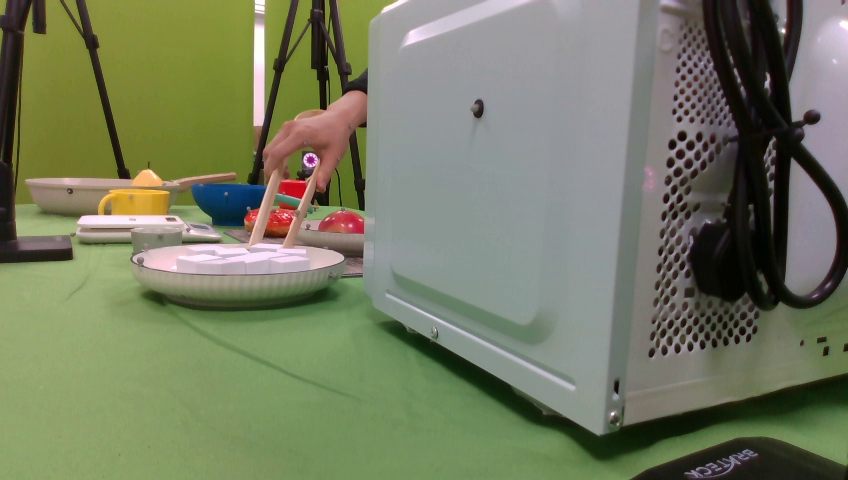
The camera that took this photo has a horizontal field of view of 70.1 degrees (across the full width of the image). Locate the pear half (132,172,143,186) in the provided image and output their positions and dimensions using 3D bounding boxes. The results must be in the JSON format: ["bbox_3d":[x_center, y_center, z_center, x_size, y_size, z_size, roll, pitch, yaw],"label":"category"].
[{"bbox_3d":[-0.638,-0.113,1.361,0.031,0.088,0.070,5,10,4],"label":"pear half"}]

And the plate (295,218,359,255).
[{"bbox_3d":[-0.098,-0.007,0.928,0.209,0.038,0.209,2,8,0],"label":"plate"}]

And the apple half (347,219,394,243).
[{"bbox_3d":[-0.084,-0.018,0.967,0.081,0.033,0.081,6,10,-1],"label":"apple half"}]

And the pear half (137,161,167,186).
[{"bbox_3d":[-0.602,-0.120,1.354,0.056,0.110,0.076,4,11,6],"label":"pear half"}]

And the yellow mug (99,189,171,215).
[{"bbox_3d":[-0.519,-0.055,1.080,0.099,0.064,0.131,7,9,26],"label":"yellow mug"}]

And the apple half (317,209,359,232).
[{"bbox_3d":[-0.122,-0.020,0.901,0.080,0.053,0.075,4,11,20],"label":"apple half"}]

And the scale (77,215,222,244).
[{"bbox_3d":[-0.434,-0.019,0.963,0.202,0.031,0.148,-1,9,-27],"label":"scale"}]

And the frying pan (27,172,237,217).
[{"bbox_3d":[-0.624,-0.118,1.387,0.305,0.102,0.490,8,17,32],"label":"frying pan"}]

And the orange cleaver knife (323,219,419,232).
[{"bbox_3d":[-0.097,-0.027,1.152,0.077,0.012,0.212,1,6,41],"label":"orange cleaver knife"}]

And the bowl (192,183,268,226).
[{"bbox_3d":[-0.382,-0.071,1.202,0.151,0.077,0.151,3,7,0],"label":"bowl"}]

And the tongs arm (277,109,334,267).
[{"bbox_3d":[-0.167,-0.091,0.830,0.051,0.026,0.384,2,36,5],"label":"tongs arm"}]

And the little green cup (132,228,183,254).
[{"bbox_3d":[-0.342,0.006,0.779,0.061,0.038,0.061,2,8,0],"label":"little green cup"}]

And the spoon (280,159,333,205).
[{"bbox_3d":[-0.317,-0.159,1.640,0.194,0.022,0.041,-49,32,-20],"label":"spoon"}]

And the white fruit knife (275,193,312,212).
[{"bbox_3d":[-0.364,-0.105,1.464,0.208,0.027,0.016,15,0,-34],"label":"white fruit knife"}]

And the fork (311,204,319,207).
[{"bbox_3d":[-0.356,-0.105,1.526,0.208,0.018,0.028,16,-5,-41],"label":"fork"}]

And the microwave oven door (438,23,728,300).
[{"bbox_3d":[0.181,-0.073,0.621,0.358,0.243,0.039,-2,8,-29],"label":"microwave oven door"}]

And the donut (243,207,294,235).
[{"bbox_3d":[-0.262,-0.032,1.043,0.099,0.048,0.099,4,9,0],"label":"donut"}]

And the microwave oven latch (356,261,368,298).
[{"bbox_3d":[-0.019,0.033,0.530,0.079,0.029,0.030,0,7,-26],"label":"microwave oven latch"}]

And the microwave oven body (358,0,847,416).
[{"bbox_3d":[0.211,-0.047,0.475,0.444,0.260,0.324,-1,7,-28],"label":"microwave oven body"}]

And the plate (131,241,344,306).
[{"bbox_3d":[-0.187,0.033,0.625,0.208,0.039,0.207,2,8,0],"label":"plate"}]

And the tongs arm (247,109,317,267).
[{"bbox_3d":[-0.190,-0.090,0.830,0.028,0.028,0.386,-4,35,3],"label":"tongs arm"}]
